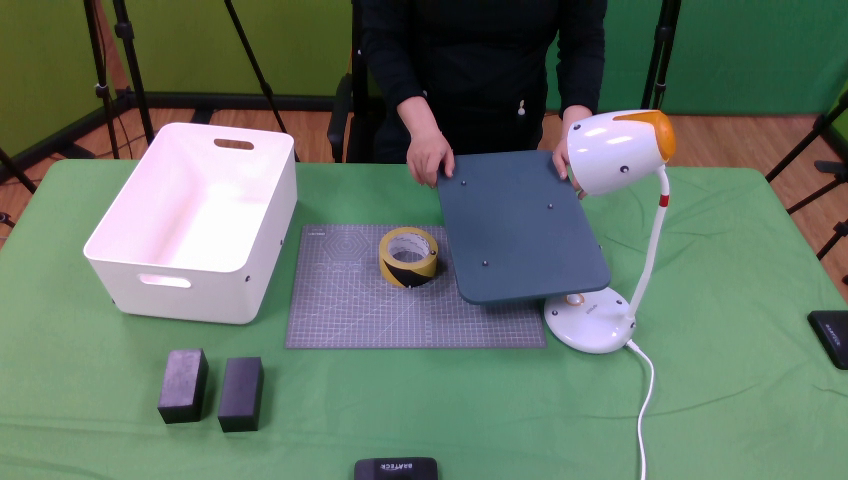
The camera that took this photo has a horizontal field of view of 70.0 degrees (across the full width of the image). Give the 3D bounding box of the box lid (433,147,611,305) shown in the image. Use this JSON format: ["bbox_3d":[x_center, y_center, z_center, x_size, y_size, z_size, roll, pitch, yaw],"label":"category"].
[{"bbox_3d":[0.166,-0.039,1.116,0.263,0.015,0.369,-6,49,-5],"label":"box lid"}]

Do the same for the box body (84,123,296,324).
[{"bbox_3d":[-0.393,-0.035,1.104,0.254,0.161,0.362,5,46,1],"label":"box body"}]

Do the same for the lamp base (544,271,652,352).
[{"bbox_3d":[0.309,0.086,1.029,0.178,0.181,0.160,32,52,21],"label":"lamp base"}]

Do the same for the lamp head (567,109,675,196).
[{"bbox_3d":[0.272,-0.123,0.818,0.122,0.113,0.112,-9,35,37],"label":"lamp head"}]

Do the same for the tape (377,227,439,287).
[{"bbox_3d":[-0.031,0.032,1.140,0.117,0.053,0.116,2,46,-2],"label":"tape"}]
